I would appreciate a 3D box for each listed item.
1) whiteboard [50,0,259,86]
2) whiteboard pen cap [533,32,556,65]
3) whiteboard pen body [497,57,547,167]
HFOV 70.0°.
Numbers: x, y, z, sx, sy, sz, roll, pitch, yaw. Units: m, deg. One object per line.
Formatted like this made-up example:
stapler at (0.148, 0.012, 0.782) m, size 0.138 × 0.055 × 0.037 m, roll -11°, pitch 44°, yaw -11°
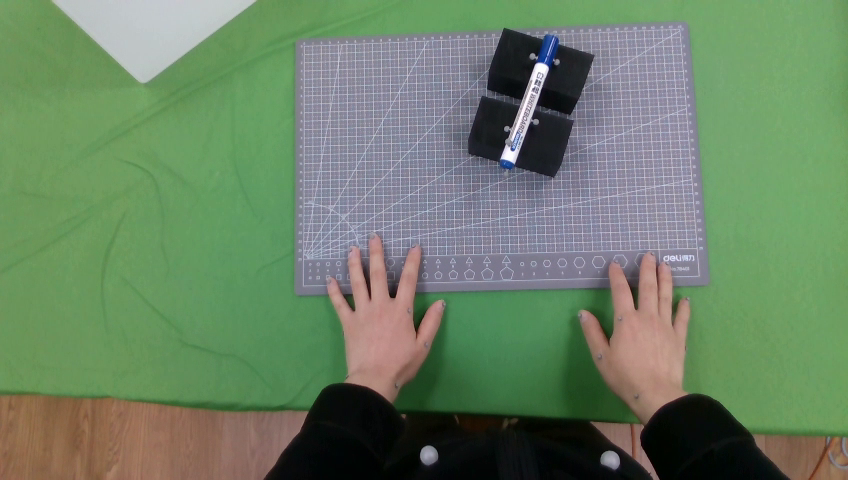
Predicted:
whiteboard at (-0.325, -0.355, 0.614) m, size 0.217 × 0.308 × 0.142 m, roll -37°, pitch 62°, yaw -1°
whiteboard pen cap at (0.124, -0.198, 0.630) m, size 0.018 × 0.018 × 0.033 m, roll 19°, pitch 86°, yaw 6°
whiteboard pen body at (0.105, -0.142, 0.624) m, size 0.017 × 0.017 × 0.140 m, roll 20°, pitch 86°, yaw 6°
